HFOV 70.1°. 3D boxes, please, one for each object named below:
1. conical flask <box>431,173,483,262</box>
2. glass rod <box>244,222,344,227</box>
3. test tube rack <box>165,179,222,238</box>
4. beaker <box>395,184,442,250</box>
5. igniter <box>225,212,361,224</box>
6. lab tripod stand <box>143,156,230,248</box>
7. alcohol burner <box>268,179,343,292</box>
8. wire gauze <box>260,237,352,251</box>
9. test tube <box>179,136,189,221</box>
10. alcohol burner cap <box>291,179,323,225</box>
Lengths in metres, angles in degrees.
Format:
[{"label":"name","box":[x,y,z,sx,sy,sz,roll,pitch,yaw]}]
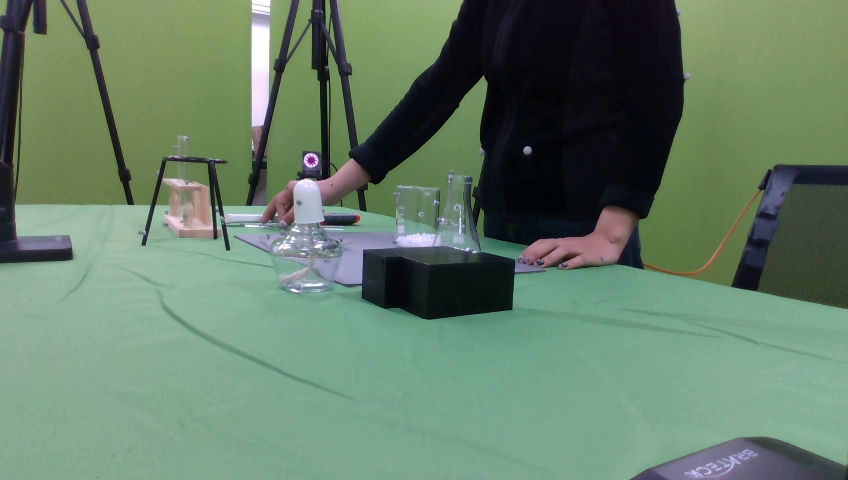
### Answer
[{"label":"conical flask","box":[0.049,-0.033,0.857,0.075,0.122,0.075,2,7,0]},{"label":"glass rod","box":[-0.244,-0.030,1.157,0.201,0.008,0.008,0,7,-32]},{"label":"test tube rack","box":[-0.423,-0.062,1.098,0.067,0.085,0.241,-2,9,-28]},{"label":"beaker","box":[-0.009,-0.038,0.968,0.074,0.100,0.084,6,7,21]},{"label":"igniter","box":[-0.262,-0.044,1.240,0.278,0.025,0.057,-2,-1,-31]},{"label":"lab tripod stand","box":[-0.338,-0.058,0.908,0.148,0.131,0.148,4,7,0]},{"label":"alcohol burner","box":[-0.124,-0.005,0.637,0.078,0.119,0.078,4,8,0]},{"label":"wire gauze","box":[-0.185,0.004,0.938,0.122,0.011,0.124,-1,5,-24]},{"label":"test tube","box":[-0.425,-0.108,1.070,0.017,0.150,0.017,4,9,0]},{"label":"alcohol burner cap","box":[-0.124,-0.040,0.632,0.034,0.048,0.034,-3,10,1]}]
